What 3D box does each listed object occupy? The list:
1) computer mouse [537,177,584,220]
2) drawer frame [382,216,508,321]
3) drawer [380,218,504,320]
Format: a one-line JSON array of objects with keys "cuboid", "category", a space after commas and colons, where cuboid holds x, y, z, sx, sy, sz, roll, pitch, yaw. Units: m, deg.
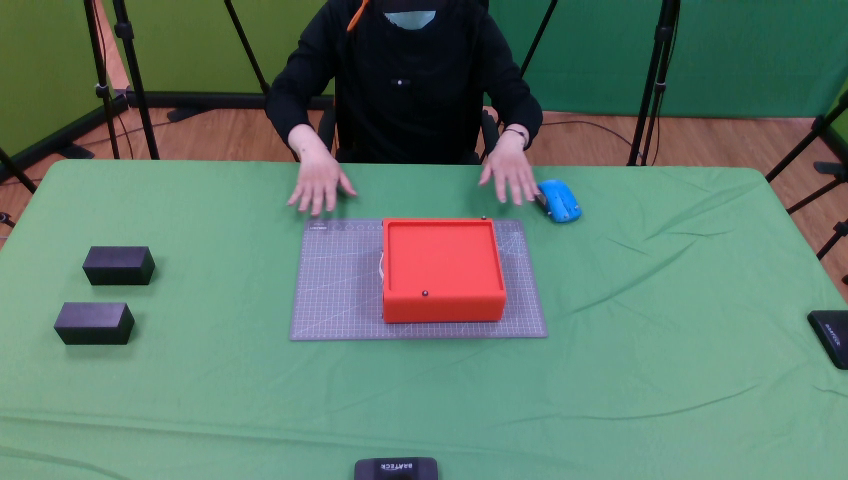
[{"cuboid": [0.291, -0.093, 1.288, 0.063, 0.041, 0.116, -13, 53, -18], "category": "computer mouse"}, {"cuboid": [0.029, 0.049, 1.102, 0.214, 0.083, 0.200, 0, 46, -5], "category": "drawer frame"}, {"cuboid": [0.026, 0.049, 1.103, 0.212, 0.073, 0.193, 0, 46, -4], "category": "drawer"}]
